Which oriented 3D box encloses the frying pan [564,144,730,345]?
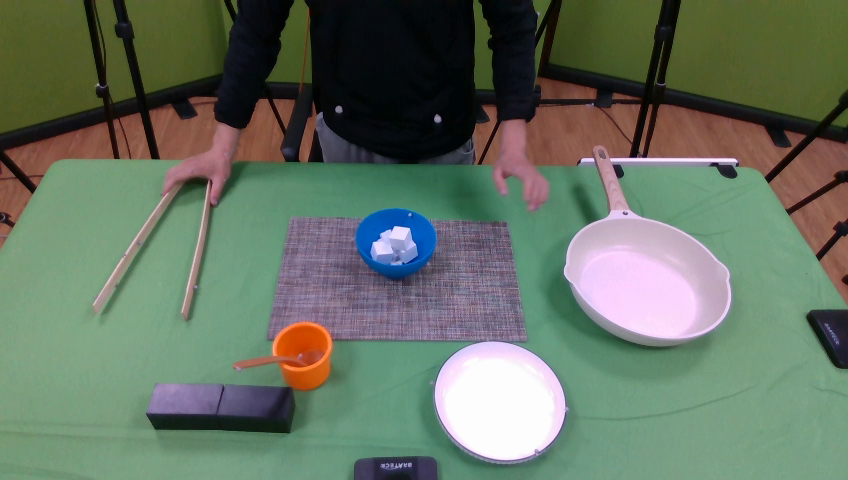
[{"bbox_3d":[0.396,-0.008,1.179,0.307,0.103,0.484,0,55,-5],"label":"frying pan"}]

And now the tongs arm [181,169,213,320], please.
[{"bbox_3d":[-0.437,-0.006,1.165,0.028,0.028,0.385,-5,46,-5],"label":"tongs arm"}]

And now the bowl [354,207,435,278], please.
[{"bbox_3d":[-0.055,0.018,1.132,0.151,0.077,0.150,2,46,-2],"label":"bowl"}]

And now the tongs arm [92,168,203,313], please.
[{"bbox_3d":[-0.517,-0.013,1.160,0.051,0.026,0.382,7,45,2],"label":"tongs arm"}]

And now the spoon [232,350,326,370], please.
[{"bbox_3d":[-0.216,0.182,0.919,0.041,0.194,0.021,43,102,27],"label":"spoon"}]

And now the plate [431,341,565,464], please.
[{"bbox_3d":[0.114,0.255,0.951,0.208,0.039,0.206,3,46,-2],"label":"plate"}]
